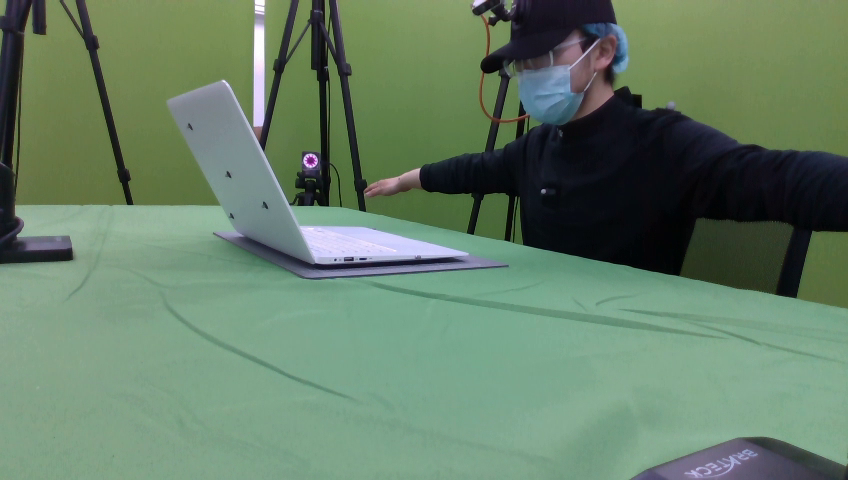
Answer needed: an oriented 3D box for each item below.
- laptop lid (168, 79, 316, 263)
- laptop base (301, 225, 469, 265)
[{"bbox_3d":[-0.264,-0.093,0.831,0.013,0.242,0.355,-33,25,-25],"label":"laptop lid"},{"bbox_3d":[-0.124,0.005,0.936,0.237,0.023,0.352,2,6,-33],"label":"laptop base"}]
